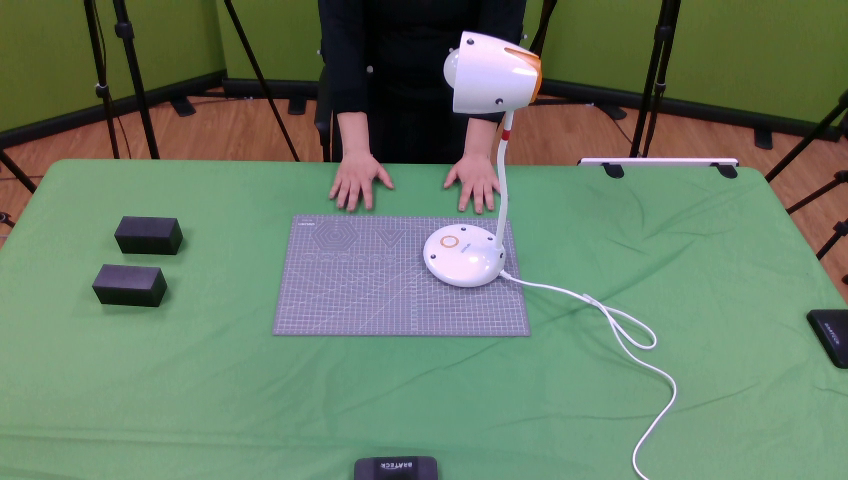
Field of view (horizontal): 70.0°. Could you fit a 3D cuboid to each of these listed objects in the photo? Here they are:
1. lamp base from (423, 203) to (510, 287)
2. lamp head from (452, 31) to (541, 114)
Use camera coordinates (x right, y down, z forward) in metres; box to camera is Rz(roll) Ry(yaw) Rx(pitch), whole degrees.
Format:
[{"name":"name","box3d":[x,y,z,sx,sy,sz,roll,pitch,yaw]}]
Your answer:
[{"name":"lamp base","box3d":[0.092,-0.021,1.111,0.179,0.181,0.160,23,49,14]},{"name":"lamp head","box3d":[0.102,-0.228,0.858,0.123,0.113,0.112,11,46,0]}]
